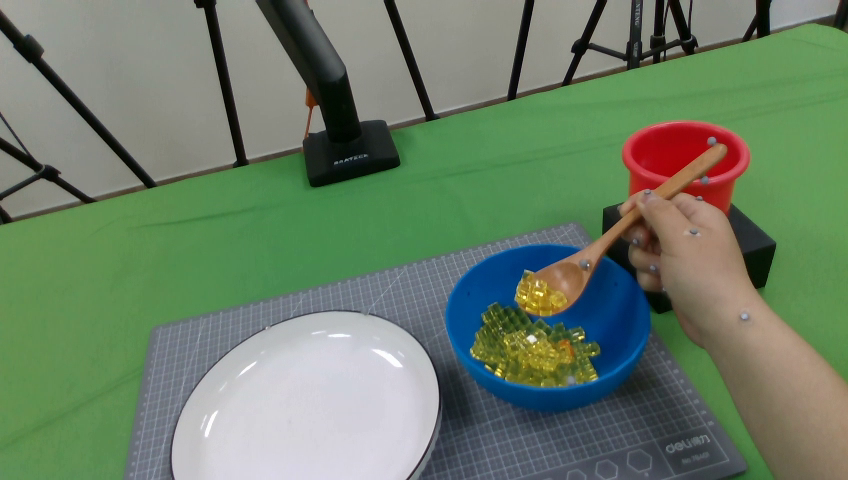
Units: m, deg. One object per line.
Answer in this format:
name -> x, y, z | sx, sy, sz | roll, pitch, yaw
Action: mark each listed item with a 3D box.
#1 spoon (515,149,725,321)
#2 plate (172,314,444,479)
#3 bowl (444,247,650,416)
spoon -> 0.147, -0.005, 0.444 | 0.194, 0.022, 0.041 | -41, 44, 1
plate -> -0.085, 0.144, 0.472 | 0.207, 0.039, 0.205 | -6, 39, 6
bowl -> 0.094, 0.083, 0.474 | 0.151, 0.077, 0.150 | -6, 39, 6
